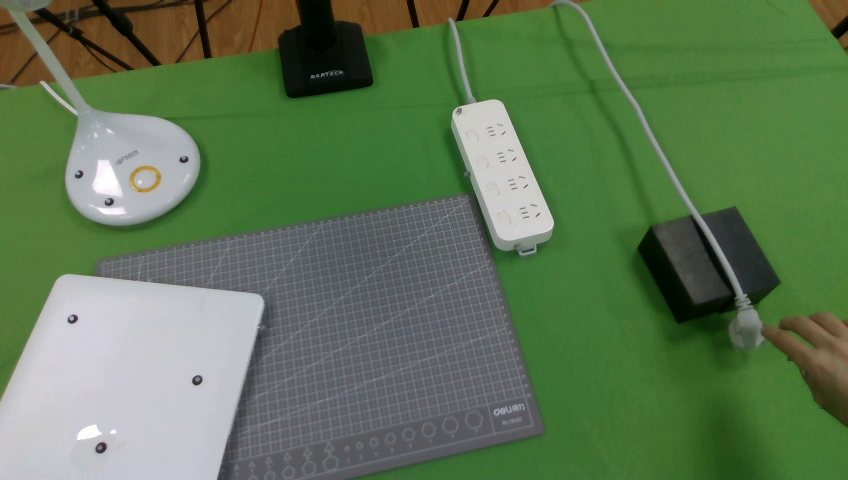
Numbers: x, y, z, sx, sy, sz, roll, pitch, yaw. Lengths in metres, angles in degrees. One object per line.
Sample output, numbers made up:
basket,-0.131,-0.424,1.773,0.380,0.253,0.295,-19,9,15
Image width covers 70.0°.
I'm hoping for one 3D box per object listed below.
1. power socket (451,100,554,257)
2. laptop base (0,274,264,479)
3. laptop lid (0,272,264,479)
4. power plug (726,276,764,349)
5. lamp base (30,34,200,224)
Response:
power socket,0.093,-0.084,0.748,0.072,0.033,0.224,-12,62,-8
laptop base,-0.311,0.204,0.596,0.235,0.023,0.351,7,61,0
laptop lid,-0.309,0.198,0.586,0.241,0.013,0.354,8,62,2
power plug,0.340,0.078,0.641,0.035,0.053,0.072,3,77,15
lamp base,-0.371,-0.134,0.689,0.178,0.182,0.160,33,65,20
